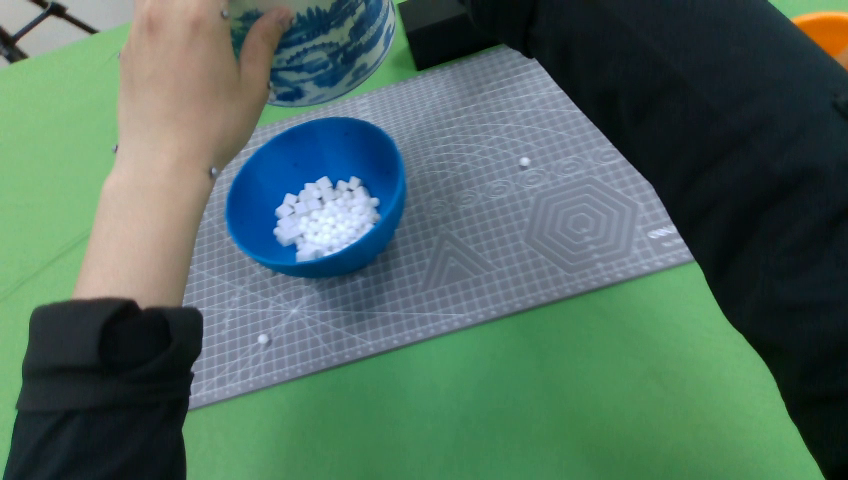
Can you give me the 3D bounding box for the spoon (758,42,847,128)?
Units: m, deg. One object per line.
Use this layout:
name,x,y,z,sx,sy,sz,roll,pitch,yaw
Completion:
spoon,0.331,-0.155,0.440,0.022,0.194,0.041,10,46,-31

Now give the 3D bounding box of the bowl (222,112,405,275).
bowl,-0.081,-0.026,0.509,0.151,0.077,0.150,-7,56,11

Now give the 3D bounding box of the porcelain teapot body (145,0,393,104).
porcelain teapot body,-0.139,-0.203,0.411,0.205,0.227,0.144,-7,66,7

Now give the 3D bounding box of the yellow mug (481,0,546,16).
yellow mug,0.084,-0.269,0.573,0.099,0.064,0.130,13,64,23
